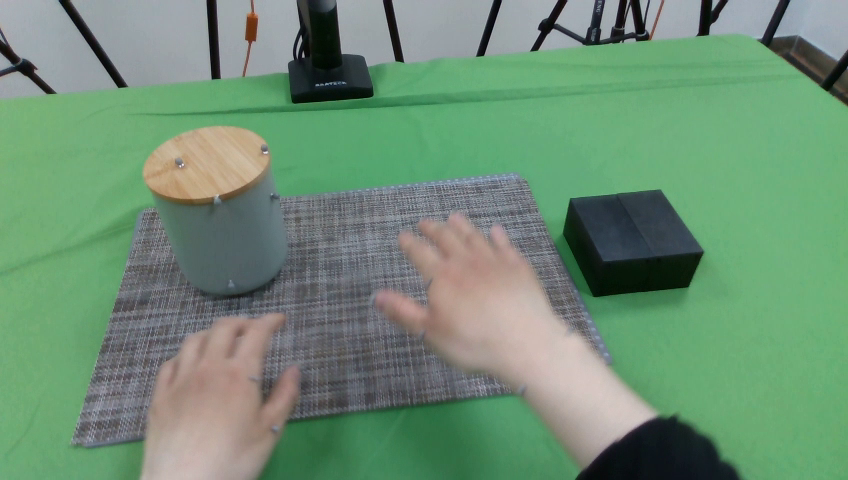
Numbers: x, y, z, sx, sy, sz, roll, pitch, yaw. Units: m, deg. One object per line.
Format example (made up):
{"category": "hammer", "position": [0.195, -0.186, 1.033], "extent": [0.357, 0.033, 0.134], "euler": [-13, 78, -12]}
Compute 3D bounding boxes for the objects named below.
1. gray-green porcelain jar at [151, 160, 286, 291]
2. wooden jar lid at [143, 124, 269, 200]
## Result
{"category": "gray-green porcelain jar", "position": [-0.193, -0.022, 0.586], "extent": [0.106, 0.127, 0.105], "euler": [0, 43, 0]}
{"category": "wooden jar lid", "position": [-0.193, -0.068, 0.544], "extent": [0.108, 0.021, 0.107], "euler": [1, 45, -1]}
